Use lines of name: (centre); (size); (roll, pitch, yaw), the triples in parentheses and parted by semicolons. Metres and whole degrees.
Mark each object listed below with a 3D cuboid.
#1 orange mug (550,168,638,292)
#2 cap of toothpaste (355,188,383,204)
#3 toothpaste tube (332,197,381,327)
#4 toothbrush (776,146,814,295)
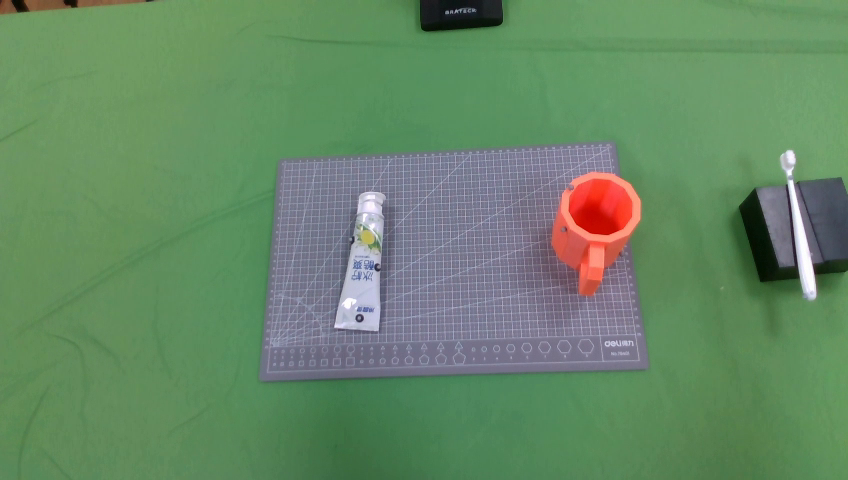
orange mug: (0.192, -0.007, 0.697); (0.083, 0.101, 0.125); (5, 65, 7)
cap of toothpaste: (-0.070, -0.054, 0.768); (0.037, 0.037, 0.011); (-6, 67, 2)
toothpaste tube: (-0.078, 0.024, 0.745); (0.055, 0.035, 0.164); (1, 73, 11)
toothbrush: (0.418, -0.026, 0.681); (0.014, 0.017, 0.180); (2, 69, 3)
